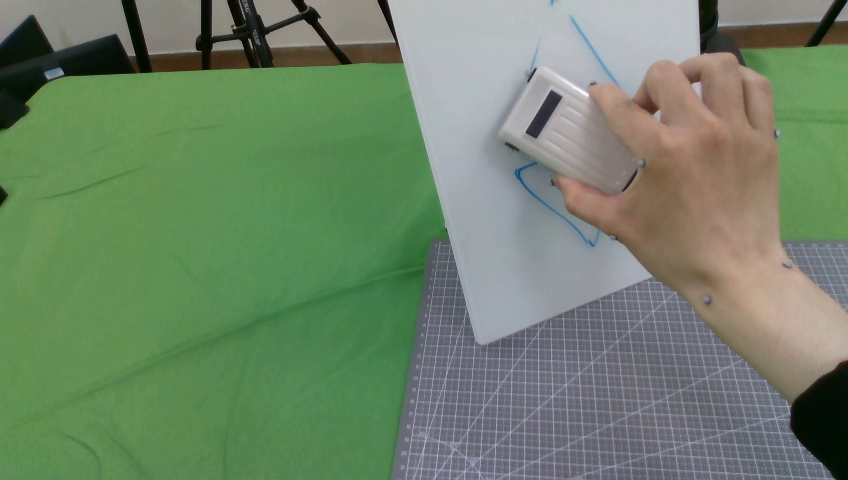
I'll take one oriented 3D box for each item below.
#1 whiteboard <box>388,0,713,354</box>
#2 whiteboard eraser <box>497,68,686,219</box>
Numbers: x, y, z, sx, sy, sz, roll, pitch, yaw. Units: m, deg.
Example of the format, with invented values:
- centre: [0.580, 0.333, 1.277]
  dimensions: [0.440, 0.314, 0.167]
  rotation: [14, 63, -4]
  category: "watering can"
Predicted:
- centre: [0.089, -0.104, 0.488]
  dimensions: [0.217, 0.308, 0.142]
  rotation: [-20, 27, -9]
  category: "whiteboard"
- centre: [0.109, -0.063, 0.402]
  dimensions: [0.113, 0.056, 0.041]
  rotation: [29, 15, 0]
  category: "whiteboard eraser"
